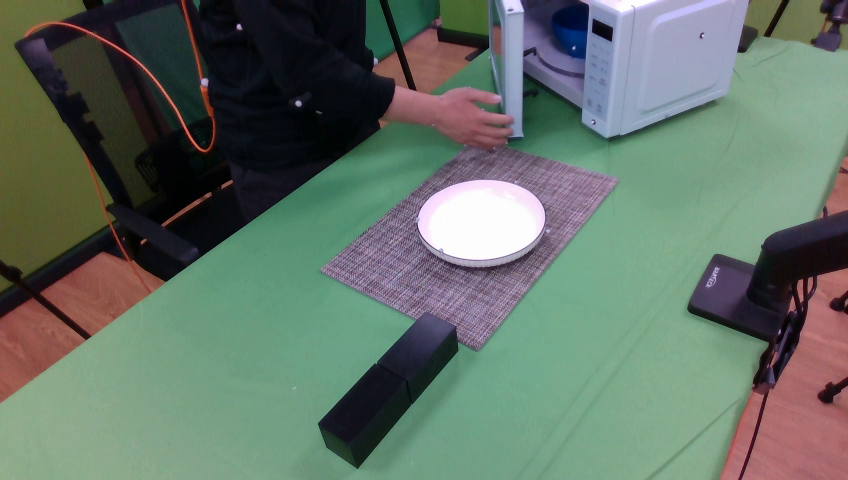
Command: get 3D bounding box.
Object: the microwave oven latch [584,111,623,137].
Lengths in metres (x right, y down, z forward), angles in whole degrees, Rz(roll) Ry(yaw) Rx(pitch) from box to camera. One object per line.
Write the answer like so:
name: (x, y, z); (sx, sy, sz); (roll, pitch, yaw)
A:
microwave oven latch: (0.337, -0.222, 1.142); (0.030, 0.029, 0.078); (-21, 42, -14)

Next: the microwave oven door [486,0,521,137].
microwave oven door: (0.159, -0.403, 1.222); (0.039, 0.245, 0.354); (-4, 41, 3)

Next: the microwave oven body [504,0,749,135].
microwave oven body: (0.382, -0.444, 1.246); (0.327, 0.261, 0.437); (-22, 42, -16)

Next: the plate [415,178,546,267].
plate: (0.091, -0.026, 0.970); (0.207, 0.039, 0.206); (-4, 41, 4)

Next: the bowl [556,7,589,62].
bowl: (0.353, -0.430, 1.285); (0.151, 0.077, 0.150); (-1, 41, 1)
